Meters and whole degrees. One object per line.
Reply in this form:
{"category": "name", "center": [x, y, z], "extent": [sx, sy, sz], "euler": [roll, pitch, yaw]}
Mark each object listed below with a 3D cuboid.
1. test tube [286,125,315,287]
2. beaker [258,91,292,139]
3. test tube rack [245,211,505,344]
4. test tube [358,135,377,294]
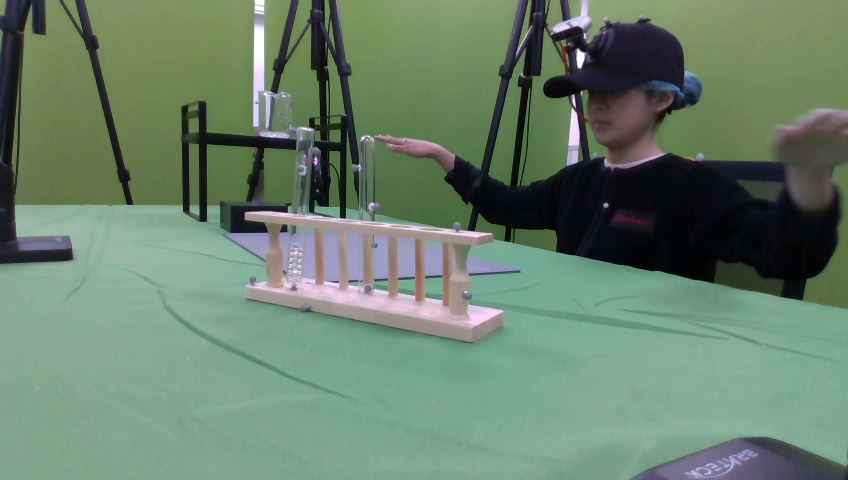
{"category": "test tube", "center": [-0.115, -0.030, 0.560], "extent": [0.017, 0.150, 0.017], "euler": [6, 8, -1]}
{"category": "beaker", "center": [-0.331, -0.276, 1.343], "extent": [0.074, 0.100, 0.083], "euler": [0, 8, -20]}
{"category": "test tube rack", "center": [-0.049, 0.025, 0.547], "extent": [0.241, 0.085, 0.067], "euler": [7, 8, 28]}
{"category": "test tube", "center": [-0.053, -0.022, 0.565], "extent": [0.017, 0.150, 0.017], "euler": [2, 6, 0]}
